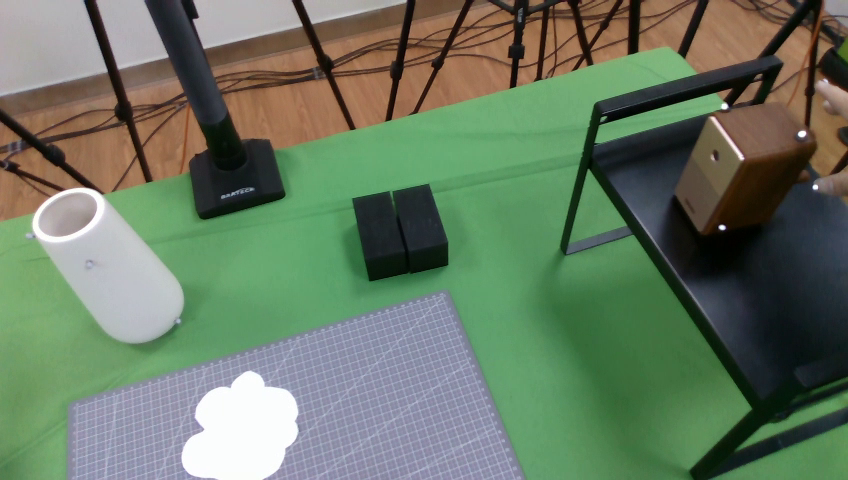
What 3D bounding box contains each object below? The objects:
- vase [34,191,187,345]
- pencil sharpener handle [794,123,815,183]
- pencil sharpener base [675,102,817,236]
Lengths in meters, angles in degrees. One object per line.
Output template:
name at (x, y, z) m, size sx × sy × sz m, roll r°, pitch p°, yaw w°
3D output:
vase at (-0.341, 0.035, 0.670) m, size 0.098 × 0.202 × 0.097 m, roll -2°, pitch 53°, yaw 3°
pencil sharpener handle at (0.337, -0.078, 0.541) m, size 0.031 × 0.068 × 0.035 m, roll -12°, pitch 42°, yaw -7°
pencil sharpener base at (0.287, -0.062, 0.547) m, size 0.077 × 0.108 × 0.060 m, roll -12°, pitch 53°, yaw -7°
